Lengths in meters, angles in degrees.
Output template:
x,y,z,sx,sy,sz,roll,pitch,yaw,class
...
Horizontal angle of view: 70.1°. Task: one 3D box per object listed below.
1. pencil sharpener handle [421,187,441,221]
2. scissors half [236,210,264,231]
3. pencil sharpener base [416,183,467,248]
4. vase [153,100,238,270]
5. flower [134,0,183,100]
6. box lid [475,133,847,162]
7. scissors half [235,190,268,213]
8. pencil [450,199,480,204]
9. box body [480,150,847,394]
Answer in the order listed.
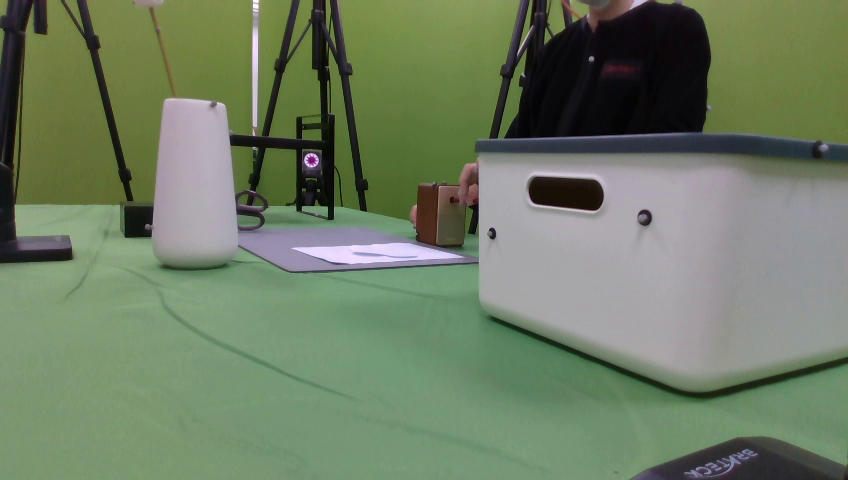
x,y,z,sx,sy,sz,roll,pitch,yaw,class
0.009,-0.065,1.088,0.036,0.068,0.030,-31,21,-23,pencil sharpener handle
-0.369,-0.051,1.065,0.176,0.040,0.012,19,13,-27,scissors half
0.028,-0.044,1.043,0.061,0.107,0.076,-2,8,-30,pencil sharpener base
-0.278,-0.066,0.736,0.098,0.200,0.098,2,9,0,vase
-0.282,-0.147,0.713,0.038,0.362,0.044,-23,24,-31,flower
0.255,-0.073,0.528,0.373,0.015,0.262,-2,8,-31,box lid
-0.363,-0.070,1.060,0.176,0.040,0.013,0,16,-23,scissors half
0.090,-0.060,0.947,0.012,0.012,0.193,-3,5,-34,pencil
0.254,0.002,0.539,0.366,0.160,0.253,-2,8,-31,box body
